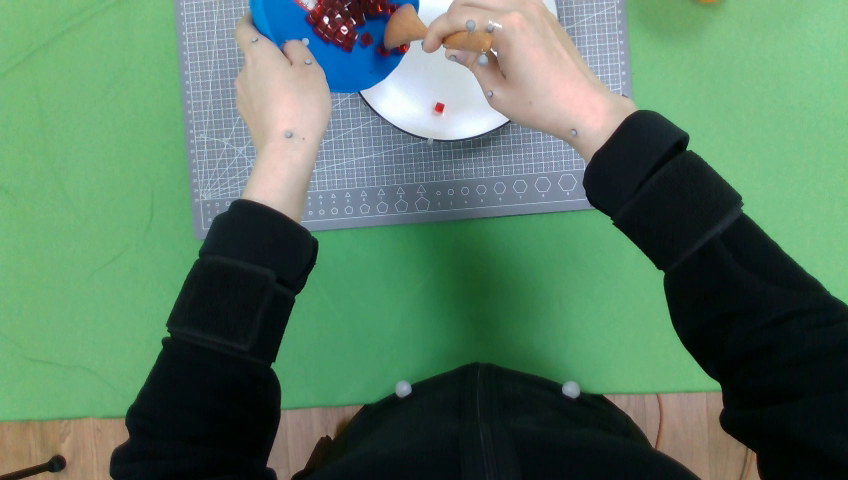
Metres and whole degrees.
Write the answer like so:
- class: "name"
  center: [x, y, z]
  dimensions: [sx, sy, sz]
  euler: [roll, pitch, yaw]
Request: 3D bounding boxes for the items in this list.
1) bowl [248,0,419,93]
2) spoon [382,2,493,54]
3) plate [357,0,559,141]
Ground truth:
- class: "bowl"
  center: [-0.086, -0.202, 0.497]
  dimensions: [0.076, 0.153, 0.151]
  euler: [25, 93, 44]
- class: "spoon"
  center: [0.006, -0.152, 0.445]
  dimensions: [0.022, 0.191, 0.041]
  euler: [25, 99, -33]
- class: "plate"
  center: [0.024, -0.199, 0.588]
  dimensions: [0.209, 0.038, 0.209]
  euler: [0, 92, 3]
